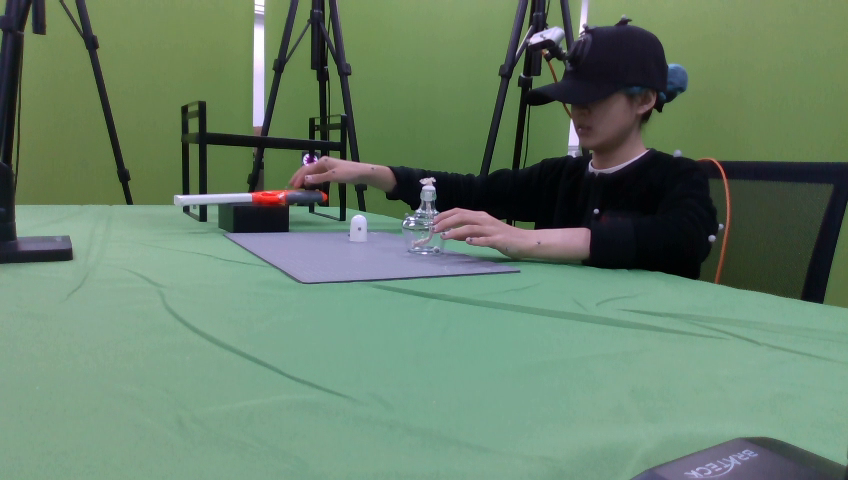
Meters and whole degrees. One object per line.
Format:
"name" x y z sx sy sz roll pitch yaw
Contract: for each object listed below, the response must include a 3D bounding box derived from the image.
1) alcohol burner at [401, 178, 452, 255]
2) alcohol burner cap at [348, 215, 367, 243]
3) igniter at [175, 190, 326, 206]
"alcohol burner" 0.005 -0.036 0.923 0.078 0.119 0.078 4 7 0
"alcohol burner cap" -0.112 -0.018 1.025 0.034 0.048 0.034 2 6 0
"igniter" -0.315 -0.079 1.128 0.278 0.025 0.057 -5 13 -34
